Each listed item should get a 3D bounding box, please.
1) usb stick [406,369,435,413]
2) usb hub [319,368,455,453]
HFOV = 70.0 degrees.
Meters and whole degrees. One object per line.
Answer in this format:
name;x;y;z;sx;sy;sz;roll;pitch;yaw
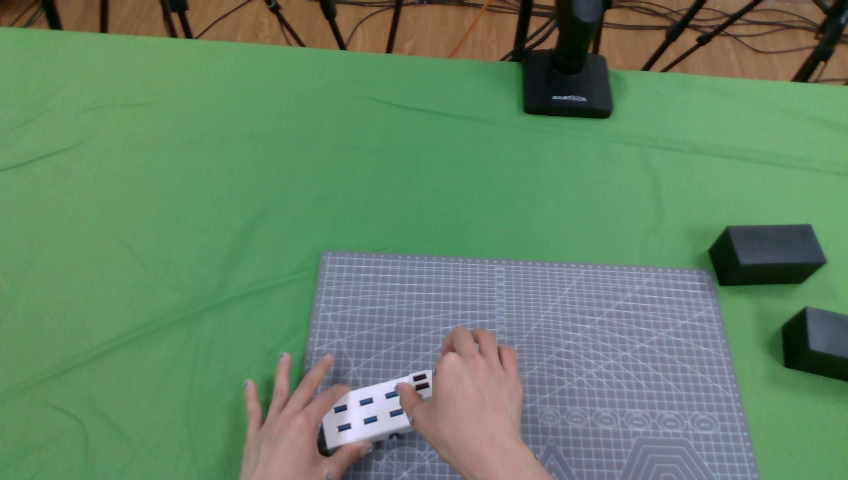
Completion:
usb stick;-0.003;0.144;0.567;0.021;0.059;0.027;-14;58;-10
usb hub;-0.036;0.164;0.588;0.125;0.025;0.049;-12;58;-10
